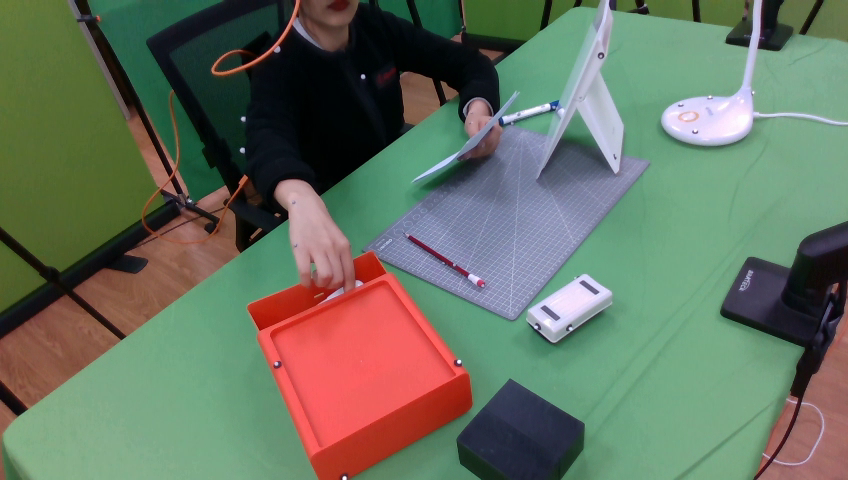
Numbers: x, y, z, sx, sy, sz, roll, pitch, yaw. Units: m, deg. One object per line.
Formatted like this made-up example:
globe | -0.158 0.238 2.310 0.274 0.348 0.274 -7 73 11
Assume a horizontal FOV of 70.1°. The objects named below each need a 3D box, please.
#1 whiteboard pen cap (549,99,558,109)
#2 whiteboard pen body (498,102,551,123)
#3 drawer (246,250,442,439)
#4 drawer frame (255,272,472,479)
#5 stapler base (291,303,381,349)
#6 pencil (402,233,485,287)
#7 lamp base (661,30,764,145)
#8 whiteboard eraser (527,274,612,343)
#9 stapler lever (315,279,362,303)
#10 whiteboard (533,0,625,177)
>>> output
whiteboard pen cap | 0.275 -0.286 1.267 0.033 0.018 0.018 -17 41 -12
whiteboard pen body | 0.220 -0.268 1.256 0.141 0.017 0.017 -18 41 -12
drawer | -0.108 0.130 0.805 0.195 0.073 0.210 -23 43 -18
drawer frame | -0.079 0.161 0.759 0.202 0.083 0.211 -24 43 -18
stapler base | -0.126 0.114 0.856 0.131 0.024 0.041 -21 22 -13
pencil | 0.026 0.028 0.949 0.012 0.012 0.192 -34 44 -26
lamp base | 0.535 -0.287 1.096 0.179 0.181 0.159 -10 40 -4
whiteboard eraser | 0.198 0.094 0.820 0.113 0.042 0.055 -30 43 -22
stapler lever | -0.134 0.091 0.844 0.118 0.040 0.026 -22 23 -12
whiteboard | 0.321 -0.258 1.049 0.144 0.306 0.217 20 45 4
